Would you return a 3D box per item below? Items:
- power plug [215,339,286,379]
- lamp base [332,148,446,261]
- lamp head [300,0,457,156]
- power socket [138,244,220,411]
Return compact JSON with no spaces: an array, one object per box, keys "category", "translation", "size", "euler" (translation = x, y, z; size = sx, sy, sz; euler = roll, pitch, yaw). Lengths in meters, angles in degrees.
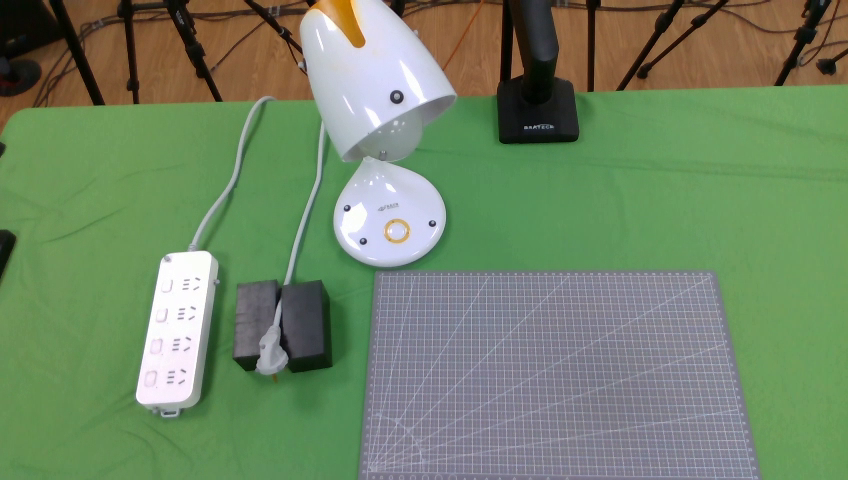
[{"category":"power plug","translation":[-0.197,0.143,0.705],"size":[0.072,0.053,0.035],"euler":[-19,17,-1]},{"category":"lamp base","translation":[-0.061,-0.089,0.793],"size":[0.161,0.182,0.177],"euler":[-26,60,-10]},{"category":"lamp head","translation":[-0.047,-0.146,0.504],"size":[0.112,0.112,0.122],"euler":[-29,86,-12]},{"category":"power socket","translation":[-0.314,0.105,0.786],"size":[0.072,0.033,0.224],"euler":[-3,60,1]}]
